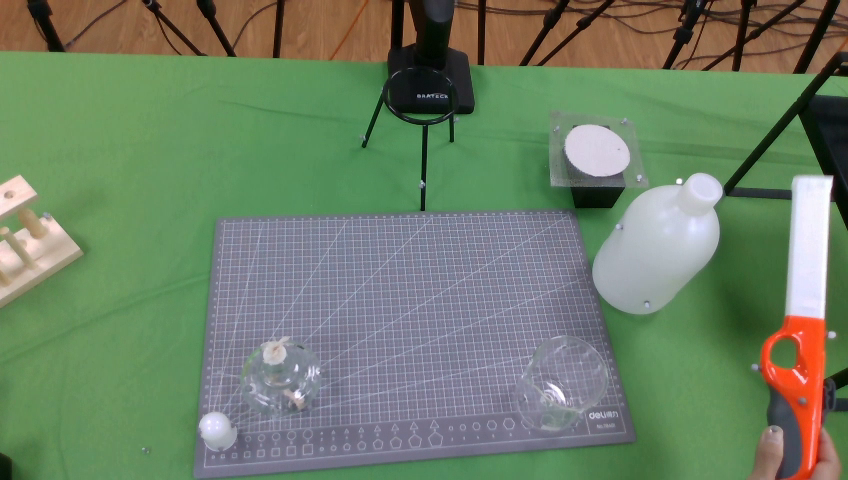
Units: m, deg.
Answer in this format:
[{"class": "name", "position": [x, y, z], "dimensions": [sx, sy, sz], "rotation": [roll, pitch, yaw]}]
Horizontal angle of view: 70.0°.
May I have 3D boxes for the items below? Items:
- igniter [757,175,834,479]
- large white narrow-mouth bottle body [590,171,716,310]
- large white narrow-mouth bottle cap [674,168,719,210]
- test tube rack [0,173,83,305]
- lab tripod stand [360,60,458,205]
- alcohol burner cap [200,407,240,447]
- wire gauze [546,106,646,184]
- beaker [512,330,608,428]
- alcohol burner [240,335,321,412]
[{"class": "igniter", "position": [0.323, 0.074, 0.524], "dimensions": [0.057, 0.025, 0.275], "rotation": [6, 76, 25]}, {"class": "large white narrow-mouth bottle body", "position": [0.258, -0.005, 0.666], "dimensions": [0.102, 0.196, 0.101], "rotation": [3, 59, -4]}, {"class": "large white narrow-mouth bottle cap", "position": [0.266, -0.050, 0.593], "dimensions": [0.038, 0.024, 0.037], "rotation": [3, 59, -5]}, {"class": "test tube rack", "position": [-0.489, 0.042, 0.609], "dimensions": [0.066, 0.086, 0.242], "rotation": [41, 63, 17]}, {"class": "lab tripod stand", "position": [-0.010, -0.138, 0.748], "dimensions": [0.149, 0.132, 0.147], "rotation": [4, 60, -6]}, {"class": "alcohol burner cap", "position": [-0.200, 0.179, 0.586], "dimensions": [0.034, 0.048, 0.033], "rotation": [2, 61, -4]}, {"class": "wire gauze", "position": [0.218, -0.122, 0.782], "dimensions": [0.121, 0.011, 0.124], "rotation": [5, 59, -4]}, {"class": "beaker", "position": [0.129, 0.145, 0.613], "dimensions": [0.084, 0.101, 0.073], "rotation": [-5, 59, -8]}, {"class": "alcohol burner", "position": [-0.140, 0.123, 0.585], "dimensions": [0.078, 0.120, 0.077], "rotation": [4, 58, -6]}]
